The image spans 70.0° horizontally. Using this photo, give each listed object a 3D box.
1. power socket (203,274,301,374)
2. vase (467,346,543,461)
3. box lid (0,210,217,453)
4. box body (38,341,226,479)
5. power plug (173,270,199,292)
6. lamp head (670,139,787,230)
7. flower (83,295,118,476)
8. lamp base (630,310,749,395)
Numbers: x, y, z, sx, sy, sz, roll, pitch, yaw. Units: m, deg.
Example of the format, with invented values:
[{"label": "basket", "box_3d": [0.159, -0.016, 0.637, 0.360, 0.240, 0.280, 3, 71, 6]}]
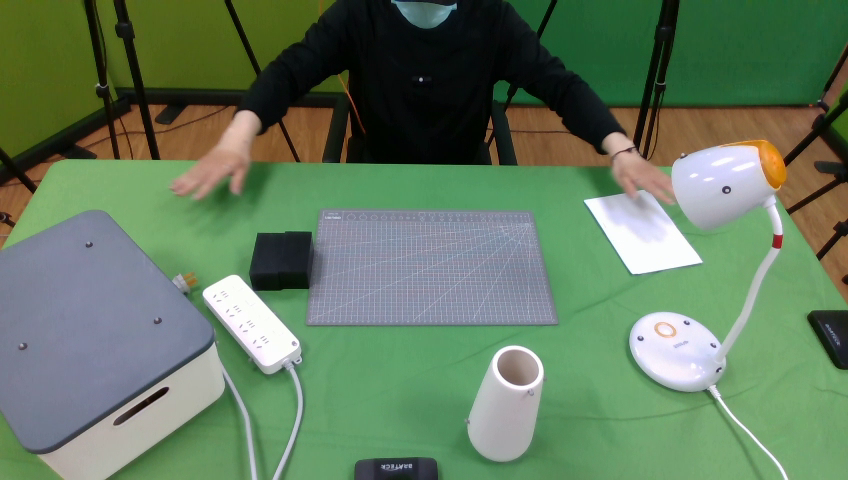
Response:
[{"label": "power socket", "box_3d": [-0.296, 0.140, 1.035, 0.072, 0.033, 0.225, -32, 57, -29]}, {"label": "vase", "box_3d": [0.116, 0.234, 0.861, 0.098, 0.201, 0.097, 1, 47, -1]}, {"label": "box lid", "box_3d": [-0.501, 0.102, 0.865, 0.369, 0.015, 0.263, 36, 54, 27]}, {"label": "box body", "box_3d": [-0.504, 0.154, 0.917, 0.362, 0.161, 0.254, 36, 54, 27]}, {"label": "power plug", "box_3d": [-0.420, 0.090, 1.084, 0.052, 0.035, 0.072, -31, 86, -18]}, {"label": "lamp head", "box_3d": [0.415, -0.079, 0.812, 0.113, 0.123, 0.112, 12, 70, -37]}, {"label": "flower", "box_3d": [-0.513, 0.210, 0.960, 0.044, 0.038, 0.359, 5, 35, -32]}, {"label": "lamp base", "box_3d": [0.447, 0.142, 0.984, 0.161, 0.181, 0.178, -24, 55, -24]}]
